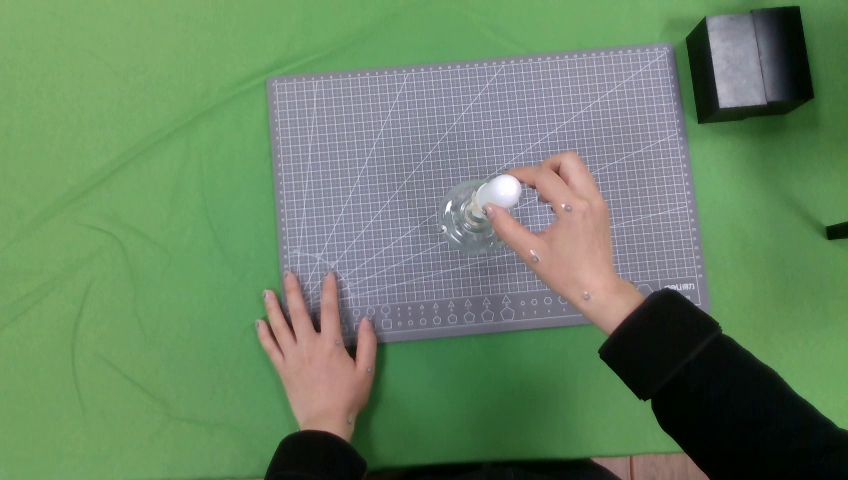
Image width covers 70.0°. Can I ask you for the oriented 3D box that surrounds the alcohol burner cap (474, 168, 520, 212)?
[{"bbox_3d":[0.064,-0.045,0.514,0.034,0.048,0.033,2,80,-13],"label":"alcohol burner cap"}]

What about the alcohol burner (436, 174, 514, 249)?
[{"bbox_3d":[0.051,-0.030,0.594,0.078,0.119,0.077,0,85,1],"label":"alcohol burner"}]
